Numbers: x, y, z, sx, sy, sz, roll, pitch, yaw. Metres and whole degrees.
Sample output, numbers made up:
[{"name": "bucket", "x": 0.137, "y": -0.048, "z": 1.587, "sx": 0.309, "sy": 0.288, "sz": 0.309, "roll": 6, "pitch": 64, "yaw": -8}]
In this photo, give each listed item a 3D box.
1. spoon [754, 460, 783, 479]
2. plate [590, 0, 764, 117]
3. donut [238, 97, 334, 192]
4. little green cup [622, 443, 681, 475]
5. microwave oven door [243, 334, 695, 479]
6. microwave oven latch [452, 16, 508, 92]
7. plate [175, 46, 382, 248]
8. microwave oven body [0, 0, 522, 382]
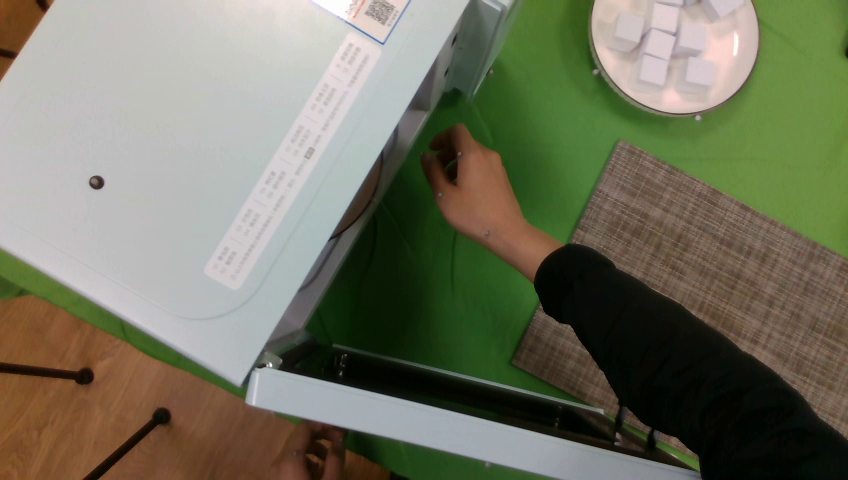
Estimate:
[{"name": "spoon", "x": 0.413, "y": 0.351, "z": 0.706, "sx": 0.042, "sy": 0.021, "sz": 0.193, "roll": -9, "pitch": 89, "yaw": -19}, {"name": "plate", "x": 0.299, "y": -0.248, "z": 0.731, "sx": 0.208, "sy": 0.039, "sz": 0.207, "roll": 0, "pitch": 86, "yaw": -3}, {"name": "donut", "x": -0.142, "y": -0.097, "z": 0.621, "sx": 0.099, "sy": 0.048, "sz": 0.099, "roll": 0, "pitch": 88, "yaw": 3}, {"name": "little green cup", "x": 0.257, "y": 0.264, "z": 0.696, "sx": 0.061, "sy": 0.038, "sz": 0.061, "roll": 1, "pitch": 83, "yaw": -4}, {"name": "microwave oven door", "x": 0.033, "y": 0.156, "z": 0.569, "sx": 0.356, "sy": 0.244, "sz": 0.039, "roll": 14, "pitch": 85, "yaw": -2}, {"name": "microwave oven latch", "x": 0.064, "y": -0.211, "z": 0.695, "sx": 0.030, "sy": 0.029, "sz": 0.079, "roll": 34, "pitch": 86, "yaw": -1}, {"name": "plate", "x": -0.147, "y": -0.094, "z": 0.630, "sx": 0.209, "sy": 0.038, "sz": 0.208, "roll": 0, "pitch": 87, "yaw": -4}, {"name": "microwave oven body", "x": -0.148, "y": -0.141, "z": 0.581, "sx": 0.326, "sy": 0.260, "sz": 0.441, "roll": 31, "pitch": 86, "yaw": -1}]
